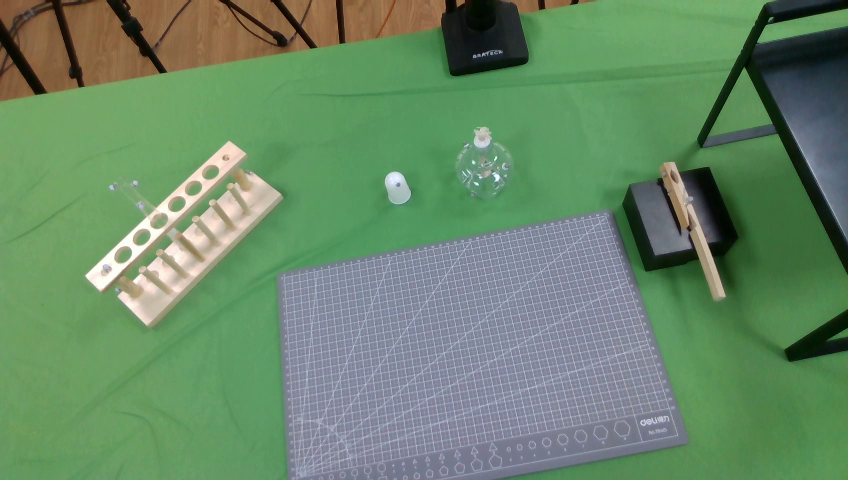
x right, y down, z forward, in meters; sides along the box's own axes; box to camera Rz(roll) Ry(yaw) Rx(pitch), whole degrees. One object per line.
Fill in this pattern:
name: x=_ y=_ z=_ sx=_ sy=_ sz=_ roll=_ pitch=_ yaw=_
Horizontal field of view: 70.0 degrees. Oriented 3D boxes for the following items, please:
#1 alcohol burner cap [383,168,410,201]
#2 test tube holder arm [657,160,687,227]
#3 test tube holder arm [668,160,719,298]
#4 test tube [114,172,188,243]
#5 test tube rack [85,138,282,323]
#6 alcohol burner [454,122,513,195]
alcohol burner cap: x=-0.038 y=-0.078 z=0.818 sx=0.034 sy=0.048 sz=0.033 roll=-4 pitch=61 yaw=8
test tube holder arm: x=0.301 y=-0.056 z=0.730 sx=0.010 sy=0.015 sz=0.087 roll=-4 pitch=65 yaw=-13
test tube holder arm: x=0.313 y=-0.016 z=0.713 sx=0.013 sy=0.015 sz=0.177 roll=-4 pitch=65 yaw=-13
test tube: x=-0.334 y=-0.036 z=0.751 sx=0.017 sy=0.151 sz=0.017 roll=-4 pitch=61 yaw=8
test tube rack: x=-0.306 y=-0.013 z=0.793 sx=0.066 sy=0.086 sz=0.242 roll=36 pitch=74 yaw=20
alcohol burner: x=0.076 y=-0.109 z=0.782 sx=0.078 sy=0.120 sz=0.077 roll=-3 pitch=64 yaw=7
